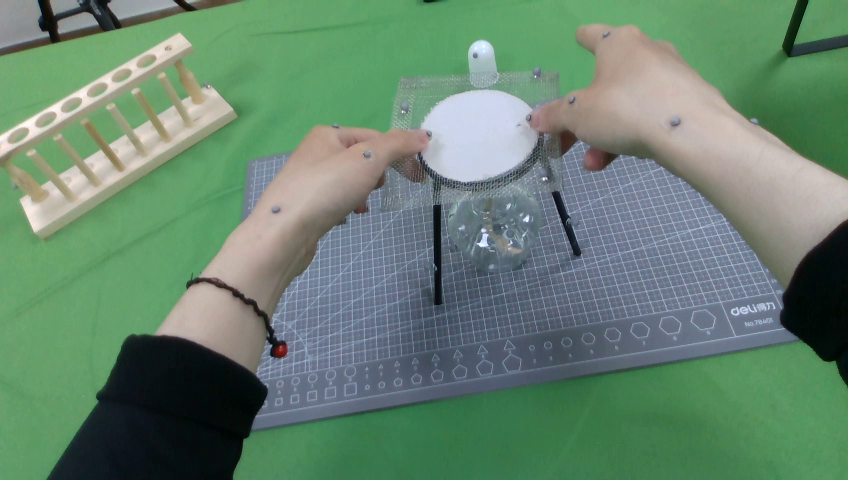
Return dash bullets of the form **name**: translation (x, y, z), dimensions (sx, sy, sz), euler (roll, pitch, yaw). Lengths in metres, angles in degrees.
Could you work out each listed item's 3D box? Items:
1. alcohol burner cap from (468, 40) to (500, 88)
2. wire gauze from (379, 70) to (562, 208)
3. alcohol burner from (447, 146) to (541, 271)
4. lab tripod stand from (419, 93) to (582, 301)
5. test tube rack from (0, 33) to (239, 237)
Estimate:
- **alcohol burner cap**: translation (0.063, -0.191, 0.648), dimensions (0.034, 0.048, 0.033), euler (-6, 55, 9)
- **wire gauze**: translation (0.034, -0.076, 0.425), dimensions (0.121, 0.011, 0.124), euler (-1, 57, 11)
- **alcohol burner**: translation (0.054, -0.028, 0.484), dimensions (0.078, 0.120, 0.077), euler (-7, 52, 9)
- **lab tripod stand**: translation (0.050, -0.033, 0.476), dimensions (0.148, 0.133, 0.147), euler (-5, 56, 8)
- **test tube rack**: translation (-0.334, -0.115, 0.652), dimensions (0.242, 0.086, 0.066), euler (-37, 56, -14)
